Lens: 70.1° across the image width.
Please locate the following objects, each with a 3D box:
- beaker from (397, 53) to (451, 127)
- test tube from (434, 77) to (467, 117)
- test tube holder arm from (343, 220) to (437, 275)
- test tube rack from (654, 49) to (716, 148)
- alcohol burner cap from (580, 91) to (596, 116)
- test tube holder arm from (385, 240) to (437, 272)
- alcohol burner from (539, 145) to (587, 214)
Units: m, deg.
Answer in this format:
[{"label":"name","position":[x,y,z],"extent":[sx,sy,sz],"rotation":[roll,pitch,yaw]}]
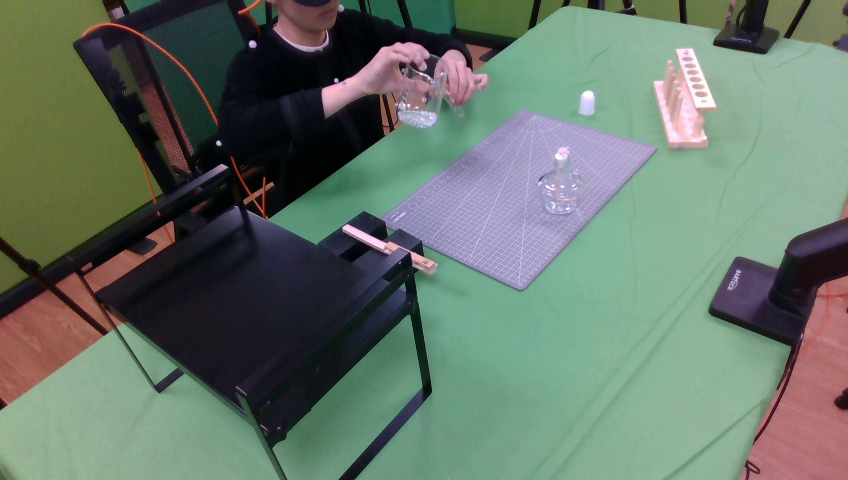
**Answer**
[{"label":"beaker","position":[-0.001,-0.243,0.996],"extent":[0.073,0.084,0.100],"rotation":[8,79,20]},{"label":"test tube","position":[0.051,-0.260,1.110],"extent":[0.017,0.151,0.017],"rotation":[-4,78,21]},{"label":"test tube holder arm","position":[-0.054,0.009,0.899],"extent":[0.177,0.013,0.015],"rotation":[26,58,30]},{"label":"test tube rack","position":[0.502,-0.281,1.176],"extent":[0.066,0.085,0.241],"rotation":[1,41,11]},{"label":"alcohol burner cap","position":[0.338,-0.283,1.238],"extent":[0.034,0.048,0.033],"rotation":[-5,42,4]},{"label":"test tube holder arm","position":[-0.020,0.022,0.872],"extent":[0.087,0.010,0.015],"rotation":[26,58,31]},{"label":"alcohol burner","position":[0.226,-0.102,0.986],"extent":[0.078,0.119,0.077],"rotation":[-6,41,6]}]
